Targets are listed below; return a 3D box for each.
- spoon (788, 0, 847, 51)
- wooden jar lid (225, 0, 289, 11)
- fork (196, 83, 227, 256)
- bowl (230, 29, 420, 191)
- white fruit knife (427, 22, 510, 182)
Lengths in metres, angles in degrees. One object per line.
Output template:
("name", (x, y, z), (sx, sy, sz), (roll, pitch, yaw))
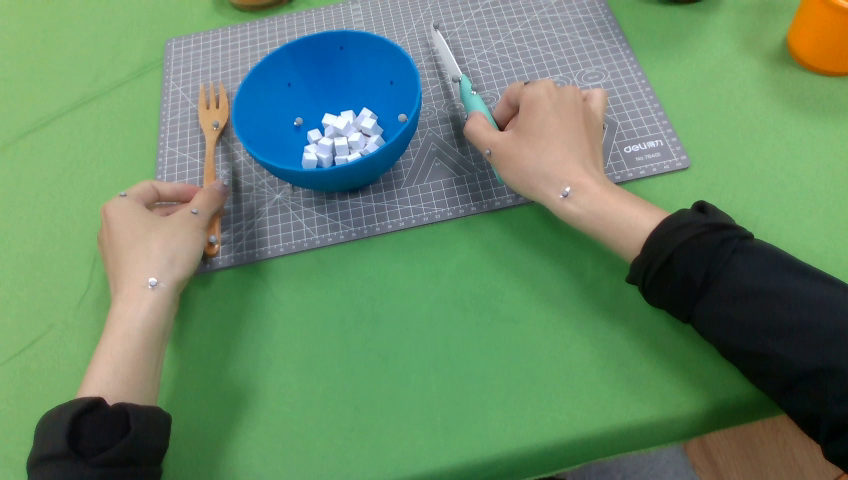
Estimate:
("spoon", (0.390, -0.213, 0.477), (0.022, 0.193, 0.041), (16, 56, -35))
("wooden jar lid", (-0.180, -0.293, 0.673), (0.108, 0.021, 0.107), (-2, 59, 4))
("fork", (-0.186, -0.069, 0.530), (0.028, 0.019, 0.205), (-6, 51, -13))
("bowl", (-0.073, -0.093, 0.502), (0.151, 0.077, 0.150), (-3, 59, 6))
("white fruit knife", (0.033, -0.133, 0.533), (0.016, 0.027, 0.205), (-9, 53, -17))
